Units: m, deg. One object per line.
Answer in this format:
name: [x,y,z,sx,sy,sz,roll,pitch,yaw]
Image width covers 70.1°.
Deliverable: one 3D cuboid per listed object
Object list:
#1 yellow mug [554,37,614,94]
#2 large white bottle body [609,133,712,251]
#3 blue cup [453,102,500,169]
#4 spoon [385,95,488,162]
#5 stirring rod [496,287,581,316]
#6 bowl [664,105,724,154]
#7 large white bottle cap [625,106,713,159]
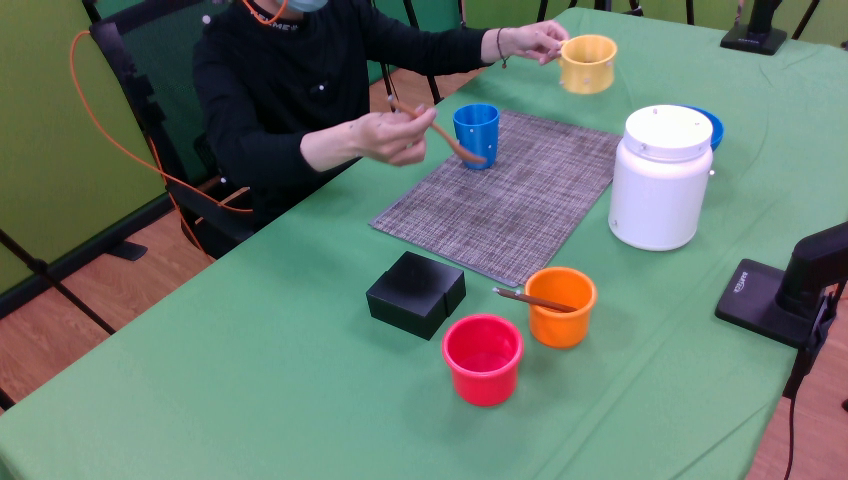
yellow mug: [0.298,-0.340,1.158,0.100,0.064,0.129,-35,51,-21]
large white bottle body: [0.351,-0.090,0.904,0.130,0.185,0.130,-5,41,4]
blue cup: [0.099,-0.188,1.114,0.092,0.100,0.092,-4,39,4]
spoon: [0.021,-0.159,0.870,0.021,0.195,0.041,-60,34,-1]
stirring rod: [0.150,0.080,0.774,0.178,0.006,0.014,17,21,-42]
bowl: [0.438,-0.166,1.063,0.151,0.077,0.150,-4,41,4]
large white bottle cap: [0.342,-0.153,0.848,0.115,0.018,0.114,-4,41,4]
